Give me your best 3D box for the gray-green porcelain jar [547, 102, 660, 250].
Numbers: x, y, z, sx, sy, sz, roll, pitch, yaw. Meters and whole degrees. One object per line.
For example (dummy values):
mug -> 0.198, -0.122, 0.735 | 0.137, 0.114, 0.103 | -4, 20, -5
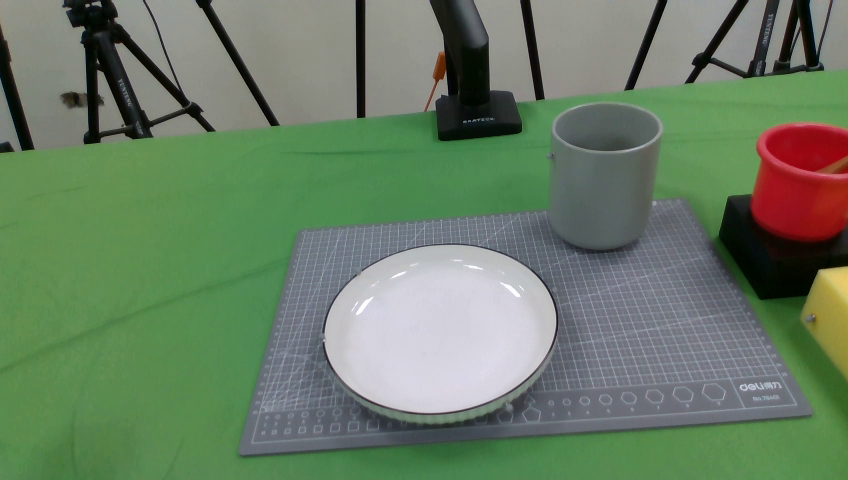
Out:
gray-green porcelain jar -> 0.181, -0.062, 0.626 | 0.106, 0.128, 0.105 | -5, 38, 4

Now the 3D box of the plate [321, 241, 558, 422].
plate -> 0.015, 0.079, 0.545 | 0.207, 0.039, 0.205 | -4, 38, 4

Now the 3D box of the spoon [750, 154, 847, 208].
spoon -> 0.378, -0.074, 0.518 | 0.194, 0.022, 0.041 | -35, 16, 44

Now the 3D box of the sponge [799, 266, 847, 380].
sponge -> 0.397, 0.101, 0.443 | 0.118, 0.061, 0.204 | -8, 38, -1
